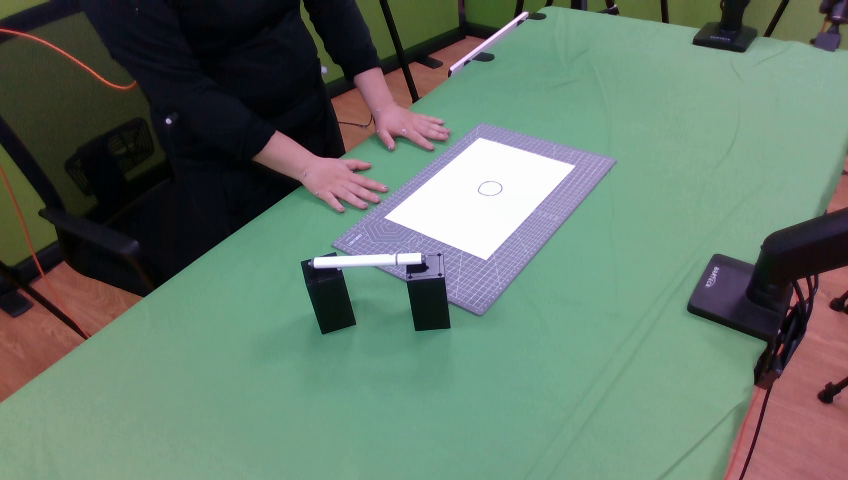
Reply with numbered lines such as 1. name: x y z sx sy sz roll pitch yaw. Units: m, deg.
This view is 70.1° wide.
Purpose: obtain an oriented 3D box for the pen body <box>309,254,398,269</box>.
1. pen body: -0.079 0.029 0.797 0.144 0.017 0.017 -3 40 5

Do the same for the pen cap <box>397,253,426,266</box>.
1. pen cap: -0.016 0.026 0.791 0.038 0.017 0.017 -3 40 3
